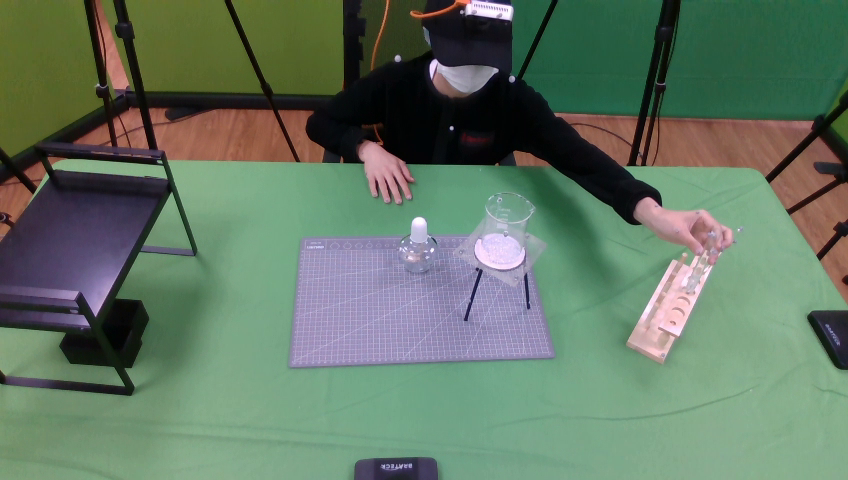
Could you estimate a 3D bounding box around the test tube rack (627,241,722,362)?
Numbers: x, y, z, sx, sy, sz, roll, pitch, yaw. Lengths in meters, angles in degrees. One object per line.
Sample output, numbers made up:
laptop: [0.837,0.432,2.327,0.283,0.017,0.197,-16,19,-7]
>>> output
test tube rack: [0.452,0.098,1.087,0.066,0.085,0.242,28,51,22]

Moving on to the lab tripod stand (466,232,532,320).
lab tripod stand: [0.125,0.059,1.065,0.148,0.132,0.147,1,45,0]

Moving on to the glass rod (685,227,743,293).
glass rod: [0.500,0.039,1.054,0.008,0.200,0.008,4,53,-5]

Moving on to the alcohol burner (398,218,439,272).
alcohol burner: [-0.010,0.004,1.123,0.078,0.120,0.077,1,47,-1]

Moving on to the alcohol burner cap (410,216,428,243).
alcohol burner cap: [-0.009,-0.022,1.099,0.034,0.048,0.033,2,42,-1]

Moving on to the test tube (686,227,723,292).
test tube: [0.454,0.035,0.984,0.017,0.151,0.017,-1,47,1]

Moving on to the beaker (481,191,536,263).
beaker: [0.134,-0.019,0.982,0.084,0.101,0.073,-5,46,-8]

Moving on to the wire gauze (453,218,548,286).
wire gauze: [0.129,0.014,1.018,0.124,0.011,0.121,26,47,25]
